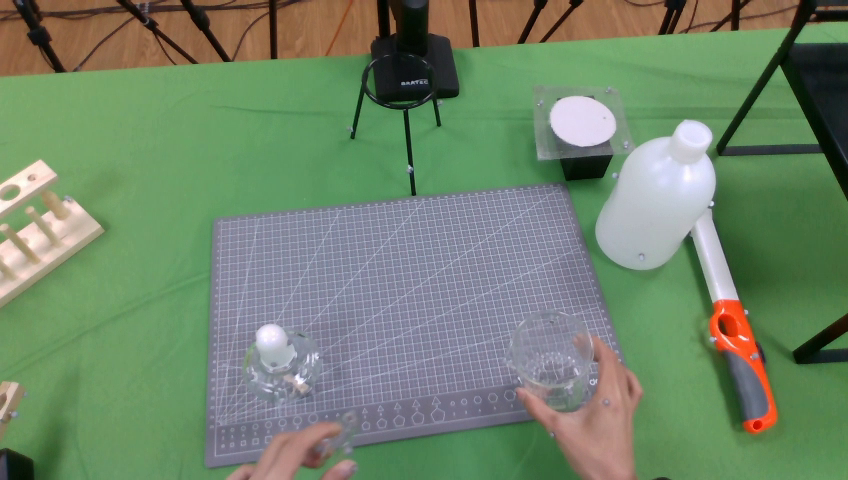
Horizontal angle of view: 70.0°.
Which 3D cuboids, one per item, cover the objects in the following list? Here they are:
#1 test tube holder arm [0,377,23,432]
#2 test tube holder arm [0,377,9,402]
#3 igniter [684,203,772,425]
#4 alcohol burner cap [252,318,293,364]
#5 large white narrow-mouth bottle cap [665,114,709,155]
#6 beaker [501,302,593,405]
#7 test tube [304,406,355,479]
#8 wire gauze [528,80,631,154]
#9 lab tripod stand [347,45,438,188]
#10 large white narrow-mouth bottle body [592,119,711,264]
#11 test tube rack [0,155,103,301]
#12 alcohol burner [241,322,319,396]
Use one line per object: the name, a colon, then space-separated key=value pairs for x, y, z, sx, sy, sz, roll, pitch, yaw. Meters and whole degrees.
test tube holder arm: x=-0.405 y=0.210 z=0.538 sx=0.013 sy=0.015 sz=0.177 roll=4 pitch=60 yaw=7
test tube holder arm: x=-0.406 y=0.171 z=0.562 sx=0.010 sy=0.015 sz=0.087 roll=3 pitch=59 yaw=7
igniter: x=0.343 y=0.074 z=0.697 sx=0.057 sy=0.025 sz=0.274 roll=4 pitch=59 yaw=-12
alcohol burner cap: x=-0.145 y=0.093 z=0.571 sx=0.034 sy=0.048 sz=0.033 roll=0 pitch=54 yaw=1
large white narrow-mouth bottle cap: x=0.259 y=-0.105 z=0.600 sx=0.038 sy=0.024 sz=0.037 roll=1 pitch=59 yaw=-1
beaker: x=0.119 y=0.116 z=0.587 sx=0.084 sy=0.101 sz=0.073 roll=-16 pitch=58 yaw=3
test tube: x=-0.085 y=0.185 z=0.485 sx=0.017 sy=0.151 sz=0.017 roll=18 pitch=32 yaw=-12
wire gauze: x=0.198 y=-0.162 z=0.783 sx=0.121 sy=0.011 sz=0.124 roll=0 pitch=59 yaw=-2
lab tripod stand: x=-0.031 y=-0.160 z=0.758 sx=0.148 sy=0.132 sz=0.147 roll=2 pitch=60 yaw=-3
large white narrow-mouth bottle body: x=0.257 y=-0.059 z=0.674 sx=0.102 sy=0.196 sz=0.101 roll=1 pitch=59 yaw=-1
test tube rack: x=-0.493 y=0.020 z=0.661 sx=0.066 sy=0.086 sz=0.242 roll=38 pitch=65 yaw=18
alcohol burner: x=-0.146 y=0.111 z=0.602 sx=0.078 sy=0.120 sz=0.077 roll=2 pitch=58 yaw=-3
